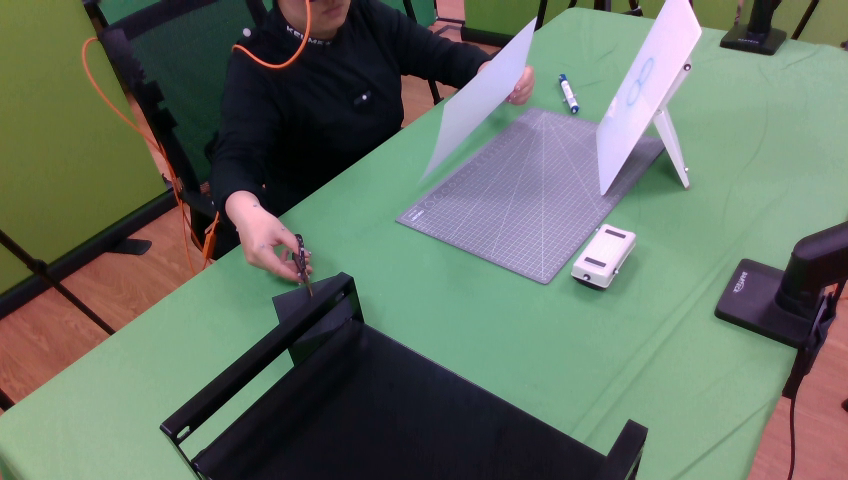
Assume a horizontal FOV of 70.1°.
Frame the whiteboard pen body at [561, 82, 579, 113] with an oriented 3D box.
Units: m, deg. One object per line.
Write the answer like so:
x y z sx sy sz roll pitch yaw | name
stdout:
0.310 -0.311 1.298 0.017 0.017 0.140 -6 41 2 | whiteboard pen body

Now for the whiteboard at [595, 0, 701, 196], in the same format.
0.421 -0.227 1.010 0.144 0.305 0.216 18 42 -2 | whiteboard

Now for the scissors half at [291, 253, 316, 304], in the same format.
-0.177 0.059 0.893 0.013 0.040 0.174 -8 19 -19 | scissors half

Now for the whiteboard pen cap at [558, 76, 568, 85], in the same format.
0.309 -0.350 1.341 0.018 0.018 0.033 -6 41 2 | whiteboard pen cap

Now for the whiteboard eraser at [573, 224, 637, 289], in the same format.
0.267 0.025 0.891 0.055 0.042 0.113 19 47 31 | whiteboard eraser

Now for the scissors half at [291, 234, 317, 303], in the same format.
-0.175 0.041 0.884 0.013 0.040 0.174 -3 33 -22 | scissors half
